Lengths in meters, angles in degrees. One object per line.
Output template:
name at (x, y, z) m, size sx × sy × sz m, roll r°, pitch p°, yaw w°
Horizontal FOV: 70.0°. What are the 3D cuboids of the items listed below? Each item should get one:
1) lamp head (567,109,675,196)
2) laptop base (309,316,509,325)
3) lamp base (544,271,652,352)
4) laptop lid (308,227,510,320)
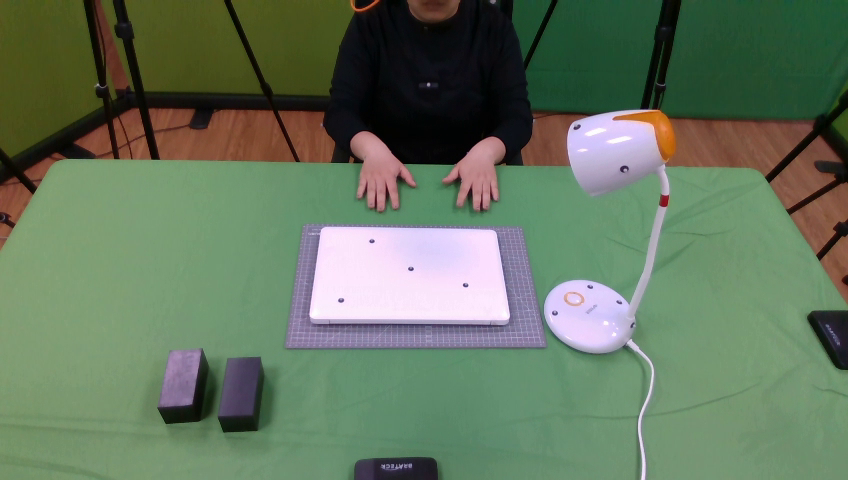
lamp head at (0.272, -0.123, 0.818) m, size 0.122 × 0.113 × 0.112 m, roll -9°, pitch 35°, yaw 37°
laptop base at (-0.028, 0.066, 1.135) m, size 0.355 × 0.023 × 0.234 m, roll 1°, pitch 43°, yaw -4°
lamp base at (0.310, 0.086, 1.029) m, size 0.178 × 0.181 × 0.160 m, roll 32°, pitch 52°, yaw 21°
laptop lid at (-0.027, 0.056, 1.127) m, size 0.357 × 0.013 × 0.240 m, roll 2°, pitch 44°, yaw -3°
